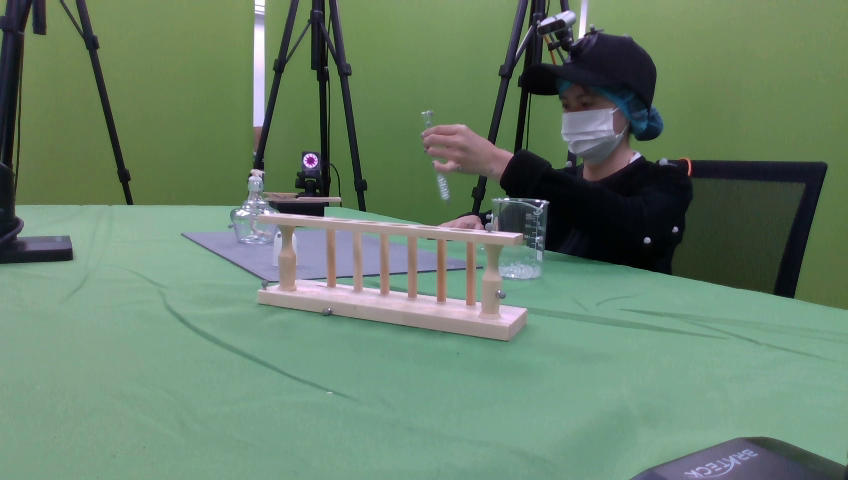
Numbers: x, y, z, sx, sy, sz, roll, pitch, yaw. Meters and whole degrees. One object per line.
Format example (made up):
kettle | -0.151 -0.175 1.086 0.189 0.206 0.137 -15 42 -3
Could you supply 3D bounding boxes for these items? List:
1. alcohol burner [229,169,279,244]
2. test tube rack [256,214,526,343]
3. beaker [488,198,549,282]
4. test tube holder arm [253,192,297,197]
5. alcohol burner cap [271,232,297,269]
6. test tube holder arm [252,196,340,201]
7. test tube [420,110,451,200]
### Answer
alcohol burner | -0.268 -0.053 0.958 0.078 0.119 0.078 2 6 0
test tube rack | -0.032 0.027 0.547 0.241 0.085 0.067 5 7 22
beaker | 0.120 -0.001 0.768 0.074 0.100 0.083 -1 9 -25
test tube holder arm | -0.301 -0.091 1.223 0.088 0.010 0.015 0 7 -25
alcohol burner cap | -0.175 0.012 0.760 0.034 0.048 0.034 2 8 0
test tube holder arm | -0.260 -0.086 1.242 0.179 0.013 0.015 0 8 -25
test tube | 0.020 -0.138 0.992 0.017 0.150 0.017 -14 15 4
